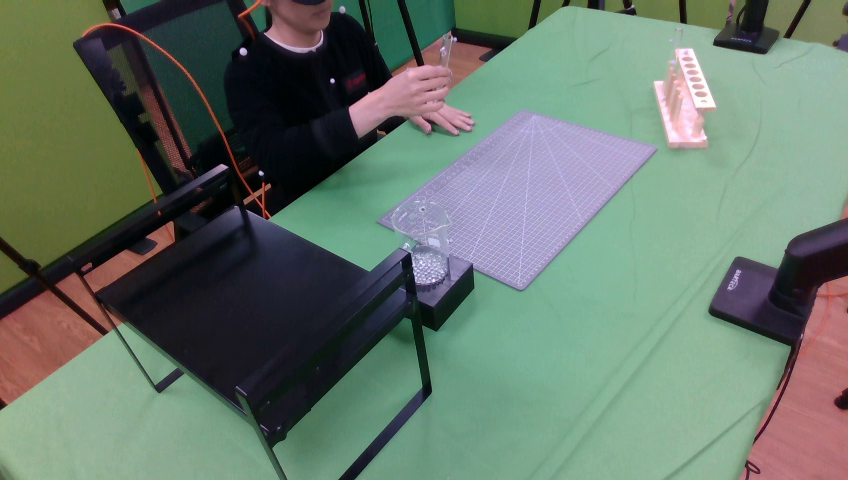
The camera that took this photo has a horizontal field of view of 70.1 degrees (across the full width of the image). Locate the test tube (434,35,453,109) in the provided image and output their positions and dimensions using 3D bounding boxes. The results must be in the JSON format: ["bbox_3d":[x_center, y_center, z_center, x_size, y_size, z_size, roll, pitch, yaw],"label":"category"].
[{"bbox_3d":[0.033,-0.285,1.040,0.017,0.150,0.017,4,53,-5],"label":"test tube"}]

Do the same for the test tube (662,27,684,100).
[{"bbox_3d":[0.486,-0.342,1.181,0.017,0.151,0.017,-3,42,3],"label":"test tube"}]

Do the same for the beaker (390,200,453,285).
[{"bbox_3d":[0.002,0.006,0.831,0.084,0.101,0.074,5,42,13],"label":"beaker"}]

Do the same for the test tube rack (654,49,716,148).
[{"bbox_3d":[0.502,-0.281,1.176,0.066,0.085,0.241,2,42,11],"label":"test tube rack"}]
